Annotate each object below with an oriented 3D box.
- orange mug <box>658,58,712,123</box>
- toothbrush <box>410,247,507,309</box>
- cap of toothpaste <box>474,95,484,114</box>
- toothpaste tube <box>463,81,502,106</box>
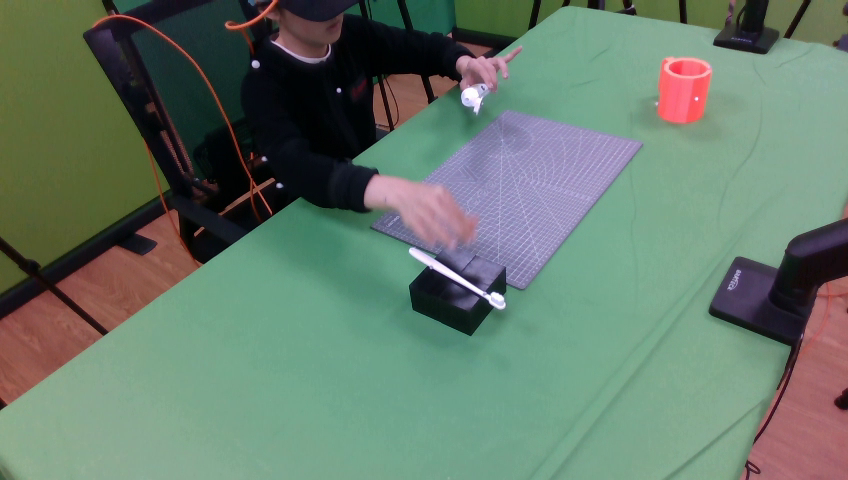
[{"bbox_3d":[0.504,-0.304,1.193,0.083,0.101,0.125,-13,45,-5],"label":"orange mug"},{"bbox_3d":[0.043,0.048,0.842,0.014,0.017,0.180,-38,48,-27],"label":"toothbrush"},{"bbox_3d":[0.099,-0.246,1.091,0.011,0.037,0.037,19,44,2],"label":"cap of toothpaste"},{"bbox_3d":[0.110,-0.290,1.170,0.055,0.034,0.165,2,26,18],"label":"toothpaste tube"}]
